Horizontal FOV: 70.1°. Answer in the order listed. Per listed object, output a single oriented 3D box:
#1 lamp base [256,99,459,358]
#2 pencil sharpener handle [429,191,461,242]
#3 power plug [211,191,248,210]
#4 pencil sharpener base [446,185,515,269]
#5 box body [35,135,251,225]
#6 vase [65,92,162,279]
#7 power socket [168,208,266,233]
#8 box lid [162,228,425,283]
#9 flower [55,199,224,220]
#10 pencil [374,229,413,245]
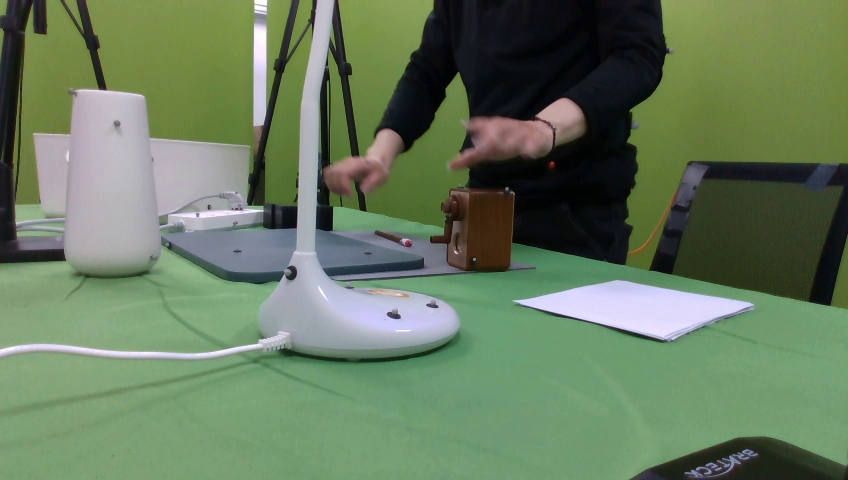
[{"bbox_3d":[-0.055,-0.013,0.463,0.160,0.180,0.180,6,11,27],"label":"lamp base"},{"bbox_3d":[0.025,-0.030,0.780,0.031,0.067,0.036,-2,16,-25],"label":"pencil sharpener handle"},{"bbox_3d":[-0.384,-0.071,1.205,0.072,0.052,0.035,1,8,28],"label":"power plug"},{"bbox_3d":[0.072,-0.019,0.802,0.077,0.107,0.061,-2,9,-25],"label":"pencil sharpener base"},{"bbox_3d":[-0.559,-0.127,1.257,0.253,0.160,0.365,4,8,15],"label":"box body"},{"bbox_3d":[-0.347,-0.060,0.673,0.098,0.200,0.098,1,7,0],"label":"vase"},{"bbox_3d":[-0.379,-0.038,1.129,0.072,0.032,0.227,4,8,18],"label":"power socket"},{"bbox_3d":[-0.200,0.014,0.861,0.265,0.015,0.369,-3,9,-35],"label":"box lid"},{"bbox_3d":[-0.576,-0.060,1.268,0.044,0.038,0.364,21,13,33],"label":"flower"},{"bbox_3d":[-0.059,-0.008,1.061,0.012,0.012,0.193,-1,7,-22],"label":"pencil"}]
